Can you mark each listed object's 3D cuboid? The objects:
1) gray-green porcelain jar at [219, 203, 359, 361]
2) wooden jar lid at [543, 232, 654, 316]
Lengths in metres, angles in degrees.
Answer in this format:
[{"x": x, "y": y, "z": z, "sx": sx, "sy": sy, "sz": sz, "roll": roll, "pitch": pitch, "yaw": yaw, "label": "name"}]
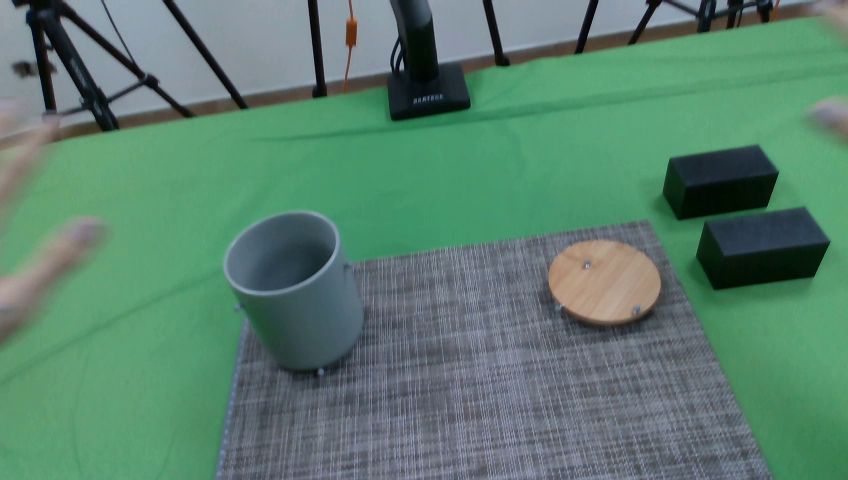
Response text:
[{"x": -0.122, "y": 0.046, "z": 0.580, "sx": 0.106, "sy": 0.128, "sz": 0.105, "roll": -5, "pitch": 45, "yaw": 5, "label": "gray-green porcelain jar"}, {"x": 0.176, "y": 0.035, "z": 0.614, "sx": 0.108, "sy": 0.021, "sz": 0.107, "roll": -5, "pitch": 47, "yaw": 6, "label": "wooden jar lid"}]
